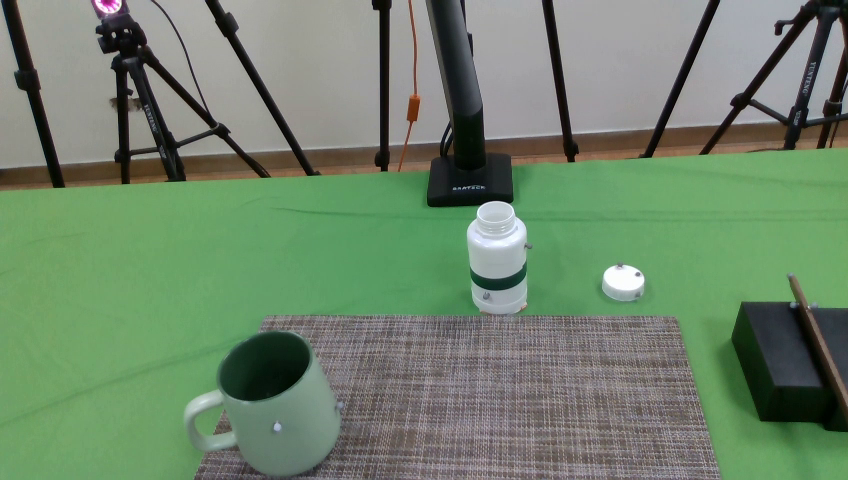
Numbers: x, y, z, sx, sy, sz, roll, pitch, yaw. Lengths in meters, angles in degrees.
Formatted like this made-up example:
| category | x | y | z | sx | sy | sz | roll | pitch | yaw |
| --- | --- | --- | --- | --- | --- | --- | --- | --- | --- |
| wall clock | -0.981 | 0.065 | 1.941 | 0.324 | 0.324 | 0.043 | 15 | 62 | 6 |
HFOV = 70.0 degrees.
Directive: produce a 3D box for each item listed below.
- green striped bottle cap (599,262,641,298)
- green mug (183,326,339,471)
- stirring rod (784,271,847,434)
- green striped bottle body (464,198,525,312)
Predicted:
| category | x | y | z | sx | sy | sz | roll | pitch | yaw |
| --- | --- | --- | --- | --- | --- | --- | --- | --- | --- |
| green striped bottle cap | 0.218 | 0.044 | 0.671 | 0.044 | 0.020 | 0.044 | -3 | 35 | 2 |
| green mug | -0.143 | 0.144 | 0.527 | 0.125 | 0.106 | 0.091 | -18 | 40 | -12 |
| stirring rod | 0.335 | 0.088 | 0.517 | 0.006 | 0.014 | 0.174 | -2 | 39 | 14 |
| green striped bottle body | 0.076 | 0.014 | 0.648 | 0.063 | 0.120 | 0.062 | -5 | 38 | 4 |
